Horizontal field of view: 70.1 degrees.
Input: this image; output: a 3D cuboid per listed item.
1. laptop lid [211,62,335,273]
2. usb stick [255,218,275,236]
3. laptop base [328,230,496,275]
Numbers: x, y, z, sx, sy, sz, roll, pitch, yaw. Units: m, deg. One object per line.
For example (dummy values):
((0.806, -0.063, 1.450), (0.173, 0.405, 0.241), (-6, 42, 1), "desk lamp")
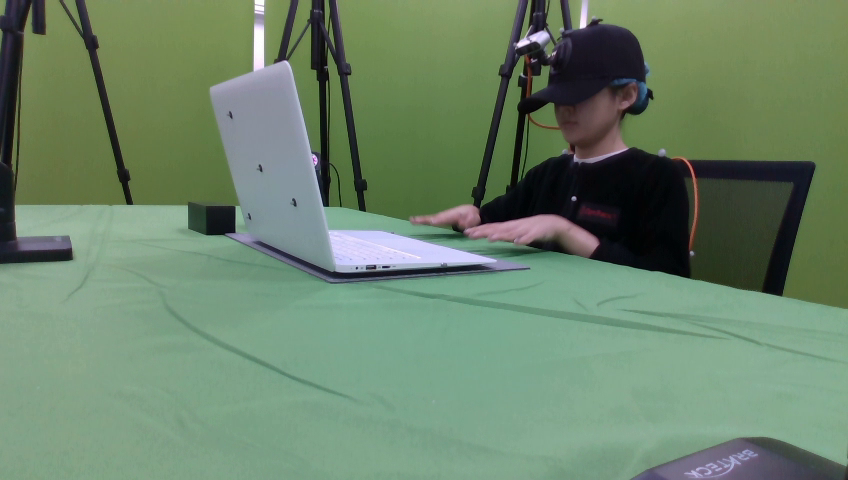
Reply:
((-0.211, -0.095, 0.791), (0.013, 0.241, 0.355), (-18, 18, -29), "laptop lid")
((-0.262, -0.021, 1.003), (0.021, 0.027, 0.059), (-1, 11, -33), "usb stick")
((-0.091, 0.016, 0.884), (0.237, 0.023, 0.352), (3, 6, -32), "laptop base")
